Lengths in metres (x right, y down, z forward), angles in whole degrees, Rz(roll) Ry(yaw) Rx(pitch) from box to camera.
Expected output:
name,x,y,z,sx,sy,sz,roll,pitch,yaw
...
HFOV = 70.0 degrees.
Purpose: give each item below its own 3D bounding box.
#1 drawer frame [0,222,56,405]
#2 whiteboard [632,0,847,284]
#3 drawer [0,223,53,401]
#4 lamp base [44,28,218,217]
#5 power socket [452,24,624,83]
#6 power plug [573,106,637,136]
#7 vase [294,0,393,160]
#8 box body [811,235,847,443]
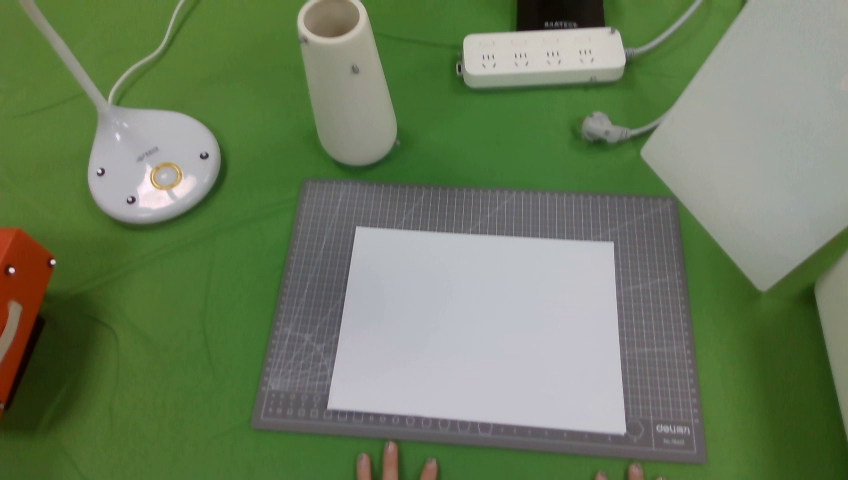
name,x,y,z,sx,sy,sz,roll,pitch,yaw
drawer frame,-0.510,0.082,0.587,0.213,0.083,0.200,2,64,2
whiteboard,0.405,-0.138,0.621,0.144,0.307,0.215,-17,62,-28
drawer,-0.504,0.079,0.584,0.212,0.074,0.193,2,64,3
lamp base,-0.349,-0.141,0.684,0.178,0.182,0.160,34,69,21
power socket,0.151,-0.247,0.803,0.227,0.033,0.071,-2,64,1
power plug,0.222,-0.144,0.759,0.073,0.035,0.052,11,26,-36
vase,-0.091,-0.178,0.684,0.098,0.201,0.097,-1,62,3
box body,0.521,0.150,0.518,0.254,0.161,0.361,2,63,3
